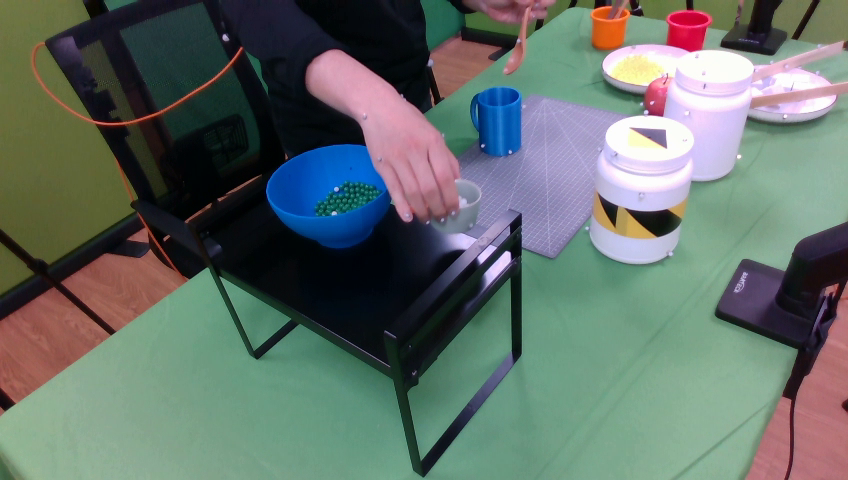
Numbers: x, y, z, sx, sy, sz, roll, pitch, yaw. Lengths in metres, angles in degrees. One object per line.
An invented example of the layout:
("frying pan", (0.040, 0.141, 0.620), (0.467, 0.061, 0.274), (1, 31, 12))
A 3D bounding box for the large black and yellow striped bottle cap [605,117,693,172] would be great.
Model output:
("large black and yellow striped bottle cap", (0.309, -0.134, 0.833), (0.115, 0.019, 0.114), (-5, 40, 5))

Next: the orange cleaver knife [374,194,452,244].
("orange cleaver knife", (-0.032, -0.027, 0.964), (0.210, 0.077, 0.012), (-9, 29, 51))

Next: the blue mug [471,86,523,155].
("blue mug", (0.135, -0.235, 1.163), (0.082, 0.106, 0.115), (-36, 48, -28))

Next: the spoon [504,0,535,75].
("spoon", (0.172, -0.366, 0.998), (0.022, 0.193, 0.041), (11, 13, -24))

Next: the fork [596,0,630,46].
("fork", (0.481, -0.556, 1.453), (0.028, 0.019, 0.207), (40, 103, 40))

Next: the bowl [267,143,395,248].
("bowl", (-0.104, -0.043, 0.726), (0.151, 0.077, 0.150), (-4, 41, 4))

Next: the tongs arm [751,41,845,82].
("tongs arm", (0.708, -0.331, 1.193), (0.386, 0.026, 0.050), (-19, 45, -16))

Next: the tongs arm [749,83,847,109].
("tongs arm", (0.735, -0.280, 1.133), (0.388, 0.028, 0.028), (-9, 47, -5))

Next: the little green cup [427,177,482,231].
("little green cup", (0.033, -0.040, 0.676), (0.061, 0.039, 0.061), (2, 36, -1))

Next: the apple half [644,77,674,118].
("apple half", (0.463, -0.279, 1.194), (0.053, 0.075, 0.081), (8, 46, 25))

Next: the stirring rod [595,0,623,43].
("stirring rod", (0.460, -0.556, 1.460), (0.014, 0.006, 0.176), (30, 93, 23))

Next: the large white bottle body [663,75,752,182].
("large white bottle body", (0.472, -0.207, 1.022), (0.130, 0.185, 0.130), (-4, 41, 4))

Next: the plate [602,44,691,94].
("plate", (0.495, -0.367, 1.317), (0.209, 0.038, 0.208), (-4, 40, 4))

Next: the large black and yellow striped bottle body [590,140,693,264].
("large black and yellow striped bottle body", (0.317, -0.071, 0.889), (0.131, 0.185, 0.130), (-4, 41, 4))

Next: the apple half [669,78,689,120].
("apple half", (0.498, -0.273, 1.180), (0.032, 0.082, 0.081), (7, 42, 25))

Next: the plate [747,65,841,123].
("plate", (0.695, -0.282, 1.189), (0.207, 0.039, 0.206), (-4, 40, 4))

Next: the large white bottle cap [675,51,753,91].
("large white bottle cap", (0.463, -0.271, 0.967), (0.115, 0.018, 0.114), (-4, 40, 4))
